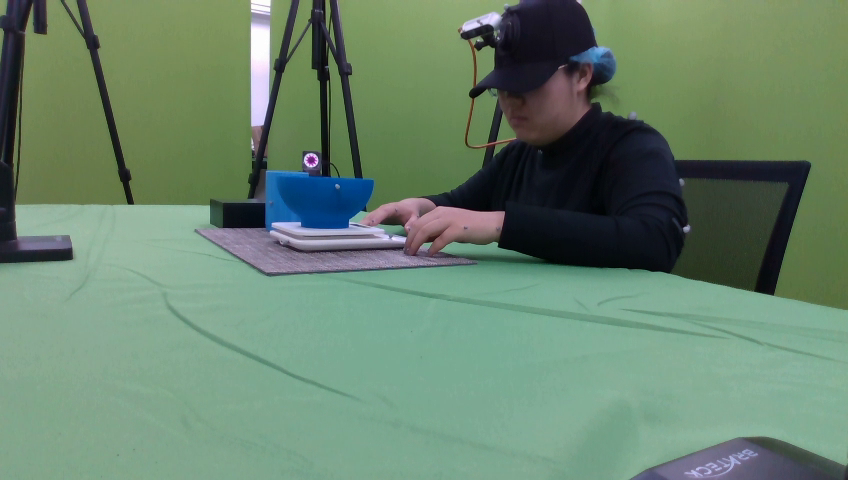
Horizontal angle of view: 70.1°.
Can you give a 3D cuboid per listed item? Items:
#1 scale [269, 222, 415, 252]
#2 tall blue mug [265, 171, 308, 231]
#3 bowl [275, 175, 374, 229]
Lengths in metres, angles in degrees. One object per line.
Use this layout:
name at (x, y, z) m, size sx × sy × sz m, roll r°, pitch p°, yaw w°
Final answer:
scale at (-0.130, -0.008, 0.958) m, size 0.202 × 0.031 × 0.148 m, roll -1°, pitch 9°, yaw -32°
tall blue mug at (-0.248, -0.073, 1.121) m, size 0.078 × 0.108 × 0.107 m, roll 3°, pitch 8°, yaw 8°
bowl at (-0.153, -0.059, 0.933) m, size 0.151 × 0.077 × 0.151 m, roll 2°, pitch 7°, yaw 0°
